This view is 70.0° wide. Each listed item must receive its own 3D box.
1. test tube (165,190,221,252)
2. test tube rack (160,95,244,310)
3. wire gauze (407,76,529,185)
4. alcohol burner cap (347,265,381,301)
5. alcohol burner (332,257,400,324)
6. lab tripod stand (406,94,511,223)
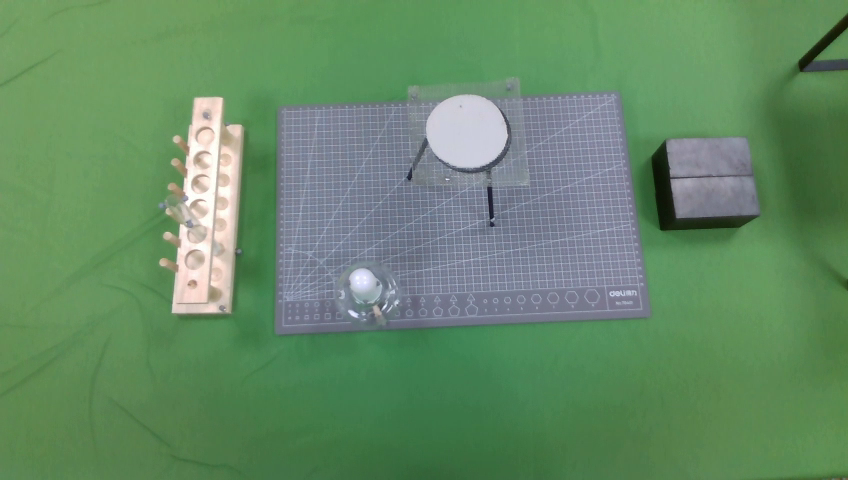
[{"bbox_3d":[-0.248,-0.017,0.660,0.017,0.151,0.017,1,70,-2],"label":"test tube"},{"bbox_3d":[-0.266,-0.042,0.717,0.067,0.085,0.241,0,76,0],"label":"test tube rack"},{"bbox_3d":[0.046,-0.115,0.641,0.125,0.011,0.121,-2,76,0],"label":"wire gauze"},{"bbox_3d":[-0.065,0.044,0.641,0.034,0.048,0.033,-1,72,5],"label":"alcohol burner cap"},{"bbox_3d":[-0.065,0.053,0.676,0.078,0.119,0.077,1,75,-1],"label":"alcohol burner"},{"bbox_3d":[0.049,-0.102,0.706,0.148,0.132,0.147,0,74,1],"label":"lab tripod stand"}]
